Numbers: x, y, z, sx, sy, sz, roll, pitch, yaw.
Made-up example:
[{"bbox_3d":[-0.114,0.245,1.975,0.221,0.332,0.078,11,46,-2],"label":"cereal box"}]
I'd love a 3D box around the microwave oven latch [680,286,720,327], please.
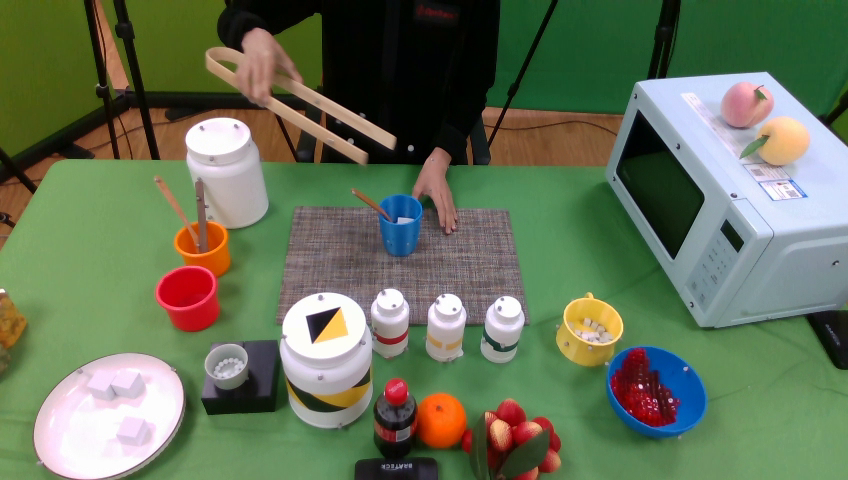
[{"bbox_3d":[0.494,0.119,1.088,0.030,0.029,0.078,-7,46,-10],"label":"microwave oven latch"}]

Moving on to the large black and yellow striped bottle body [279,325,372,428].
[{"bbox_3d":[-0.143,0.181,0.900,0.131,0.185,0.130,2,46,-2],"label":"large black and yellow striped bottle body"}]

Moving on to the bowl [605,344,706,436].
[{"bbox_3d":[0.351,0.247,0.950,0.151,0.077,0.150,2,46,-2],"label":"bowl"}]

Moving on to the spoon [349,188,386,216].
[{"bbox_3d":[-0.080,-0.045,1.121,0.021,0.195,0.041,-24,50,15],"label":"spoon"}]

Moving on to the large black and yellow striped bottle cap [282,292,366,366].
[{"bbox_3d":[-0.138,0.121,0.841,0.115,0.019,0.114,3,47,-3],"label":"large black and yellow striped bottle cap"}]

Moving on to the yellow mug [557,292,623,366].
[{"bbox_3d":[0.285,0.145,1.051,0.100,0.064,0.130,7,46,4],"label":"yellow mug"}]

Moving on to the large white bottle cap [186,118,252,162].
[{"bbox_3d":[-0.377,-0.185,1.115,0.115,0.018,0.114,2,46,-2],"label":"large white bottle cap"}]

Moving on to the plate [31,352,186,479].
[{"bbox_3d":[-0.459,0.262,0.898,0.209,0.038,0.208,2,46,-2],"label":"plate"}]

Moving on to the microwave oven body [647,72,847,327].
[{"bbox_3d":[0.608,-0.089,1.164,0.326,0.261,0.438,-7,46,-10],"label":"microwave oven body"}]

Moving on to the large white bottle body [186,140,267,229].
[{"bbox_3d":[-0.382,-0.127,1.176,0.131,0.185,0.130,2,46,-2],"label":"large white bottle body"}]

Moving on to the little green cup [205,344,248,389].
[{"bbox_3d":[-0.294,0.191,0.909,0.061,0.039,0.061,1,47,-1],"label":"little green cup"}]

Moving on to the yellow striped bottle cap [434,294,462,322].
[{"bbox_3d":[0.038,0.107,0.958,0.044,0.019,0.044,2,45,-2],"label":"yellow striped bottle cap"}]

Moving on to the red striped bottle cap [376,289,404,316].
[{"bbox_3d":[-0.055,0.098,0.958,0.044,0.018,0.044,0,48,0],"label":"red striped bottle cap"}]

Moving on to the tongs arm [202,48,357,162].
[{"bbox_3d":[-0.251,-0.229,1.004,0.386,0.028,0.028,34,47,22],"label":"tongs arm"}]

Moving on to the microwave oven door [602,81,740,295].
[{"bbox_3d":[0.456,-0.107,1.162,0.039,0.245,0.353,-7,47,-11],"label":"microwave oven door"}]

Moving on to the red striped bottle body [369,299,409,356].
[{"bbox_3d":[-0.058,0.134,0.997,0.063,0.120,0.062,4,47,-4],"label":"red striped bottle body"}]

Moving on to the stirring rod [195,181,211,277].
[{"bbox_3d":[-0.403,-0.020,1.105,0.014,0.006,0.176,-6,90,-9],"label":"stirring rod"}]

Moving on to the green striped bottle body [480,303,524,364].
[{"bbox_3d":[0.129,0.147,1.000,0.063,0.120,0.063,2,46,-2],"label":"green striped bottle body"}]

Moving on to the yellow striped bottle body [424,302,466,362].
[{"bbox_3d":[0.035,0.143,0.995,0.063,0.121,0.062,3,46,-3],"label":"yellow striped bottle body"}]

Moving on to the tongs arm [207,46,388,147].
[{"bbox_3d":[-0.225,-0.248,1.037,0.383,0.026,0.051,32,42,20],"label":"tongs arm"}]

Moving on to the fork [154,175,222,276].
[{"bbox_3d":[-0.431,-0.027,1.101,0.028,0.018,0.207,-33,101,-25],"label":"fork"}]

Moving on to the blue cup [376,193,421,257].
[{"bbox_3d":[-0.049,-0.022,1.157,0.093,0.101,0.092,2,46,-2],"label":"blue cup"}]

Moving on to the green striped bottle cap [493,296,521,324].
[{"bbox_3d":[0.133,0.111,0.962,0.044,0.020,0.044,2,47,-2],"label":"green striped bottle cap"}]
